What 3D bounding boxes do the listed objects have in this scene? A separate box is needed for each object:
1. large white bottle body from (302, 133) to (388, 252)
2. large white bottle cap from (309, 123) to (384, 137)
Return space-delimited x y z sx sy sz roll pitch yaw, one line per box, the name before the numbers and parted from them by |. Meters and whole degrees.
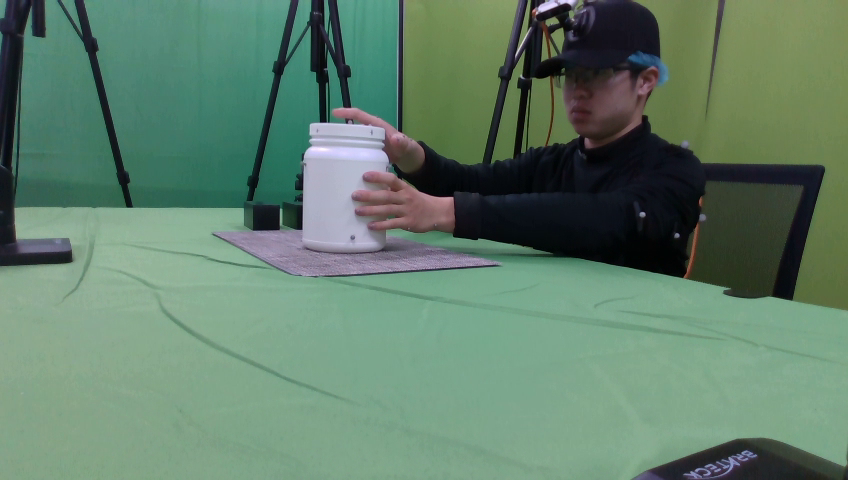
large white bottle body | -0.121 -0.080 0.937 0.131 0.184 0.130 2 7 0
large white bottle cap | -0.118 -0.167 0.925 0.115 0.018 0.115 2 7 0
